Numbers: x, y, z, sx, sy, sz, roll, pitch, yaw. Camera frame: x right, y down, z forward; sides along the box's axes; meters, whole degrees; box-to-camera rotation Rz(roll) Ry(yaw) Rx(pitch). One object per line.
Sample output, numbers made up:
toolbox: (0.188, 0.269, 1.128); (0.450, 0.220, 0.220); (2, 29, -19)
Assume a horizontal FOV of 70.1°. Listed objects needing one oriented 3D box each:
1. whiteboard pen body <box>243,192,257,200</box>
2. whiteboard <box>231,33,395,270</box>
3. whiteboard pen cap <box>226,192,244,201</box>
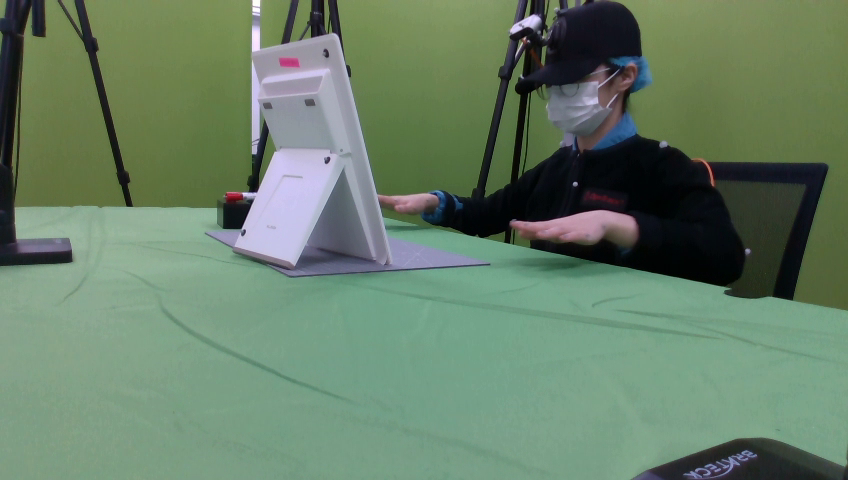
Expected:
whiteboard pen body: (-0.331, -0.091, 1.248); (0.141, 0.017, 0.017); (-3, 9, -35)
whiteboard: (-0.193, -0.094, 0.805); (0.144, 0.305, 0.216); (-28, 25, -35)
whiteboard pen cap: (-0.379, -0.087, 1.215); (0.032, 0.017, 0.017); (-5, 10, -37)
